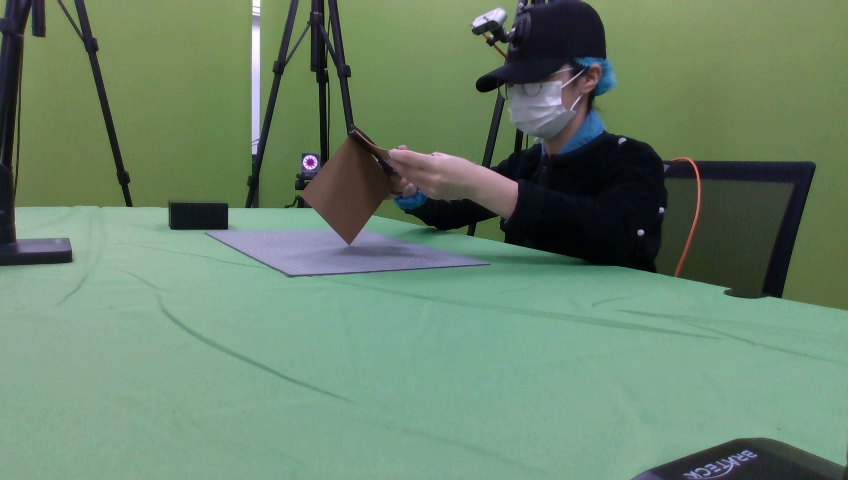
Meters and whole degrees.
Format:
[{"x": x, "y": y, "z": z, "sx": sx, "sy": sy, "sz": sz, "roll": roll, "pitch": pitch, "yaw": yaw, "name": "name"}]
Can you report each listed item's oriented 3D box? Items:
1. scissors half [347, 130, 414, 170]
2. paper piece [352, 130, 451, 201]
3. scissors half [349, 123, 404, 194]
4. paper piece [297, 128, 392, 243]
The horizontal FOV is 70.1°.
[{"x": -0.069, "y": -0.152, "z": 0.995, "sx": 0.013, "sy": 0.040, "sz": 0.176, "roll": 10, "pitch": -2, "yaw": 35, "name": "scissors half"}, {"x": -0.035, "y": -0.116, "z": 0.936, "sx": 0.137, "sy": 0.008, "sz": 0.137, "roll": 26, "pitch": 11, "yaw": -47, "name": "paper piece"}, {"x": -0.078, "y": -0.132, "z": 0.991, "sx": 0.012, "sy": 0.040, "sz": 0.176, "roll": 16, "pitch": -26, "yaw": 36, "name": "scissors half"}, {"x": -0.121, "y": -0.085, "z": 0.962, "sx": 0.004, "sy": 0.136, "sz": 0.136, "roll": 19, "pitch": -22, "yaw": 42, "name": "paper piece"}]
